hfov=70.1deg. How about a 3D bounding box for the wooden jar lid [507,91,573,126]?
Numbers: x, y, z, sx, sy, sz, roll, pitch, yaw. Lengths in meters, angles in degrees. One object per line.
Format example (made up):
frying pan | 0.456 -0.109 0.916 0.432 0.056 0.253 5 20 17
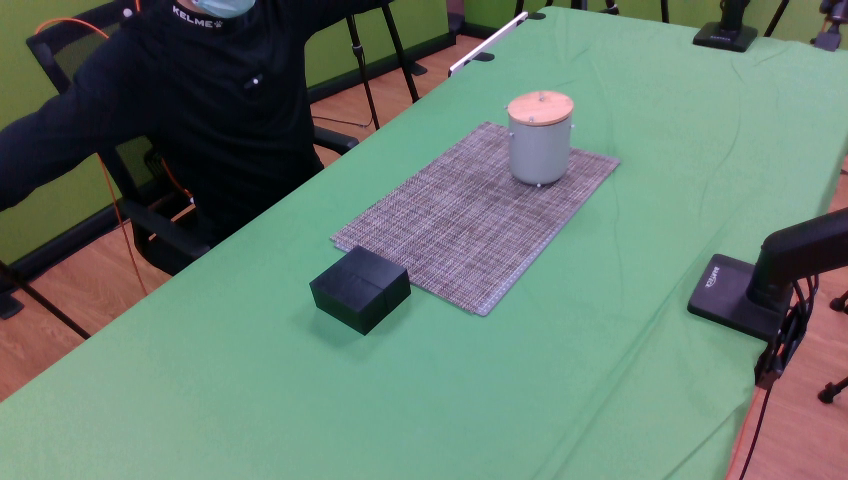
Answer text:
wooden jar lid | 0.194 -0.216 1.010 0.108 0.021 0.108 -6 40 6

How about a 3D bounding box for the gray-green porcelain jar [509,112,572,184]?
gray-green porcelain jar | 0.200 -0.169 1.051 0.106 0.127 0.105 -4 41 4
